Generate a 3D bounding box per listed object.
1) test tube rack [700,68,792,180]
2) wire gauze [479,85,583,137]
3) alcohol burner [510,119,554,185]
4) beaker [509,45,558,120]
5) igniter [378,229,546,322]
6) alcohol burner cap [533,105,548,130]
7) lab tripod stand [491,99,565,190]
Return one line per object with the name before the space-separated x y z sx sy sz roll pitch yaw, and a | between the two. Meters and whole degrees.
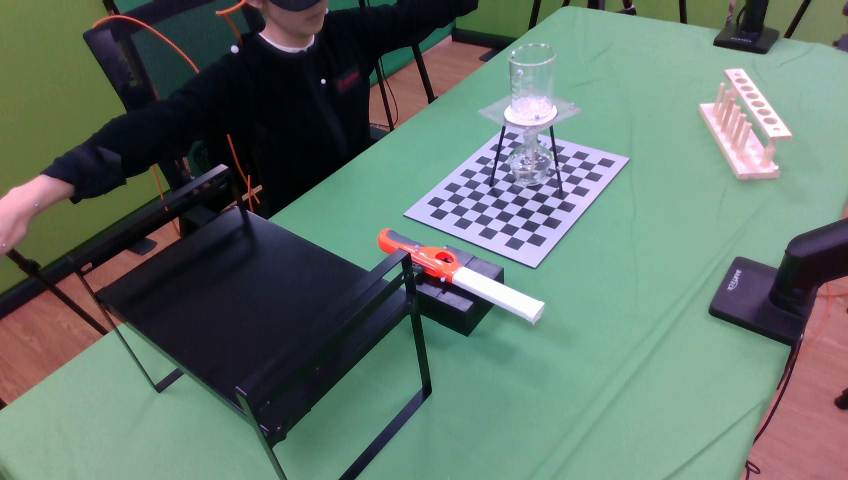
test tube rack | 0.572 -0.215 1.089 0.066 0.085 0.241 -3 41 7
wire gauze | 0.177 -0.215 1.007 0.125 0.011 0.120 -31 44 -20
alcohol burner | 0.188 -0.157 1.054 0.078 0.119 0.077 -4 39 4
beaker | 0.174 -0.253 0.977 0.074 0.101 0.083 -37 48 -28
igniter | 0.041 0.043 0.843 0.274 0.025 0.057 24 47 29
alcohol burner cap | 0.235 -0.251 1.217 0.034 0.048 0.033 -5 41 5
lab tripod stand | 0.184 -0.163 1.046 0.148 0.132 0.147 -5 43 5
